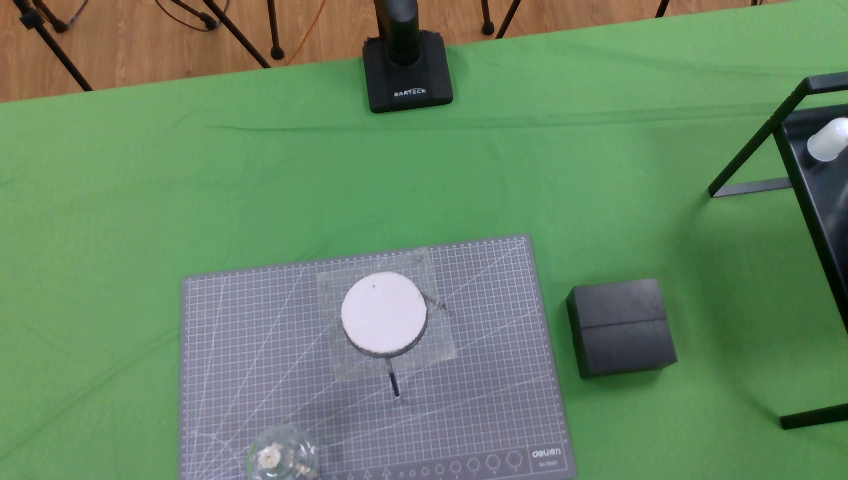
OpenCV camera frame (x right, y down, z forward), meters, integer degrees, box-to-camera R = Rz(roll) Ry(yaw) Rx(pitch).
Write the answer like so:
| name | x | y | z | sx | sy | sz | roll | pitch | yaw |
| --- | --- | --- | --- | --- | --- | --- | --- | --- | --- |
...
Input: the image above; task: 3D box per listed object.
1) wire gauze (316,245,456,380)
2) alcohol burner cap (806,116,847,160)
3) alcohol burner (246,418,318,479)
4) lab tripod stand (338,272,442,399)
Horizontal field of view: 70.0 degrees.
| name | x | y | z | sx | sy | sz | roll | pitch | yaw |
| --- | --- | --- | --- | --- | --- | --- | --- | --- | --- |
| wire gauze | -0.041 | 0.073 | 0.619 | 0.125 | 0.011 | 0.120 | -12 | 70 | -5 |
| alcohol burner cap | 0.412 | -0.105 | 0.607 | 0.034 | 0.048 | 0.033 | 0 | 69 | 0 |
| alcohol burner | -0.154 | 0.228 | 0.645 | 0.078 | 0.120 | 0.077 | 0 | 68 | 0 |
| lab tripod stand | -0.038 | 0.094 | 0.682 | 0.148 | 0.132 | 0.147 | 0 | 67 | 1 |
